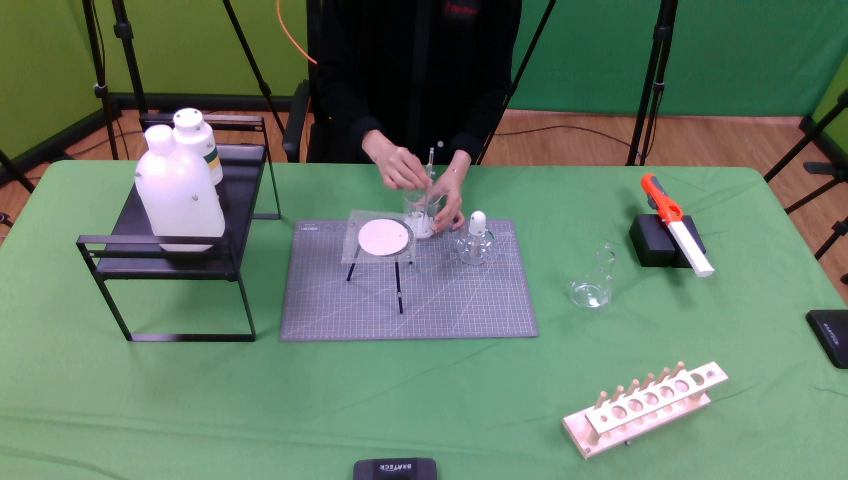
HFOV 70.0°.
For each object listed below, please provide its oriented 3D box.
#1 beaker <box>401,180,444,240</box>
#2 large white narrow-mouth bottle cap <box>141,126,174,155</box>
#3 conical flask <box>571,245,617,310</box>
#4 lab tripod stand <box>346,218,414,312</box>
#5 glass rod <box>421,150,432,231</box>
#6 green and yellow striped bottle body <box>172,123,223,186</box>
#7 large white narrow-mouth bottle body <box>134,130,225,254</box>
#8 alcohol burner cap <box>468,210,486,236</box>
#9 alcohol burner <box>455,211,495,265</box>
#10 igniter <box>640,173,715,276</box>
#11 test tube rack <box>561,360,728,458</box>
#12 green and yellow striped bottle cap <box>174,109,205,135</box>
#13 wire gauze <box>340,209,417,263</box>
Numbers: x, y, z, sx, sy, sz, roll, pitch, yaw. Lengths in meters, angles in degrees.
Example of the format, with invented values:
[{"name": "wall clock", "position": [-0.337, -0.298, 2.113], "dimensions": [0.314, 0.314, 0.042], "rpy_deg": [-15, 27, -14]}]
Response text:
[{"name": "beaker", "position": [-0.005, -0.057, 1.194], "dimensions": [0.084, 0.101, 0.073], "rpy_deg": [-7, 48, -11]}, {"name": "large white narrow-mouth bottle cap", "position": [-0.356, -0.134, 0.811], "dimensions": [0.038, 0.024, 0.037], "rpy_deg": [1, 48, -1]}, {"name": "conical flask", "position": [0.313, 0.064, 1.089], "dimensions": [0.075, 0.122, 0.075], "rpy_deg": [2, 46, -2]}, {"name": "lab tripod stand", "position": [-0.070, 0.037, 1.075], "dimensions": [0.148, 0.132, 0.147], "rpy_deg": [1, 47, -1]}, {"name": "glass rod", "position": [0.004, -0.087, 1.131], "dimensions": [0.008, 0.200, 0.008], "rpy_deg": [3, 46, -3]}, {"name": "green and yellow striped bottle body", "position": [-0.373, -0.148, 0.994], "dimensions": [0.063, 0.120, 0.063], "rpy_deg": [2, 46, -2]}, {"name": "large white narrow-mouth bottle body", "position": [-0.358, -0.075, 0.875], "dimensions": [0.102, 0.195, 0.101], "rpy_deg": [1, 47, -1]}, {"name": "alcohol burner cap", "position": [0.099, -0.034, 1.119], "dimensions": [0.034, 0.048, 0.033], "rpy_deg": [0, 53, 0]}, {"name": "alcohol burner", "position": [0.097, -0.010, 1.147], "dimensions": [0.078, 0.120, 0.077], "rpy_deg": [1, 47, -1]}, {"name": "igniter", "position": [0.495, -0.039, 1.204], "dimensions": [0.057, 0.025, 0.274], "rpy_deg": [-2, 47, -12]}, {"name": "test tube rack", "position": [0.341, 0.247, 0.940], "dimensions": [0.243, 0.085, 0.066], "rpy_deg": [-15, 49, -18]}, {"name": "green and yellow striped bottle cap", "position": [-0.369, -0.186, 0.954], "dimensions": [0.045, 0.020, 0.045], "rpy_deg": [3, 50, -3]}, {"name": "wire gauze", "position": [-0.074, -0.007, 1.023], "dimensions": [0.121, 0.011, 0.124], "rpy_deg": [3, 46, 0]}]
